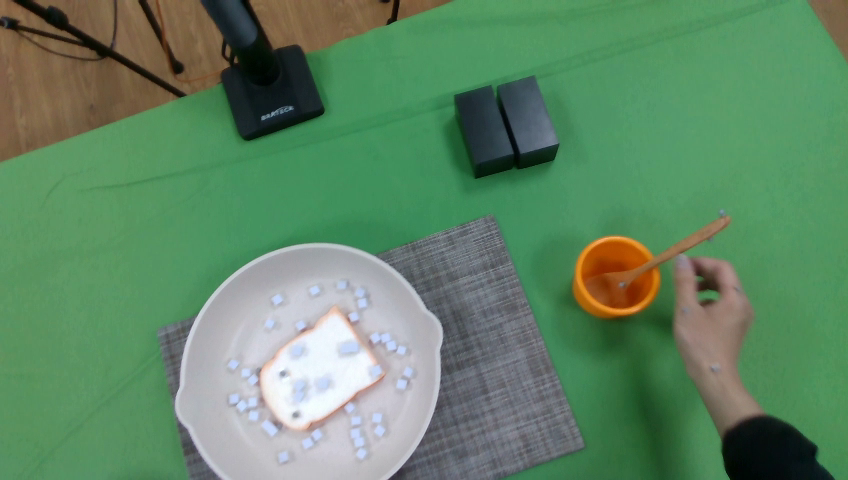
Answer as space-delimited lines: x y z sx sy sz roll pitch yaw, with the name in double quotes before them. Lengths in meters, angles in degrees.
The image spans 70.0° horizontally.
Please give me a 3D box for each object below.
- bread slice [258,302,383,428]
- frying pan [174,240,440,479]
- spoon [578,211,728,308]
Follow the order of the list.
"bread slice" -0.128 0.157 0.724 0.134 0.018 0.106 -39 76 -10
"frying pan" -0.100 0.238 0.659 0.307 0.103 0.483 -17 66 0
"spoon" 0.251 0.024 0.677 0.022 0.194 0.041 -15 71 -46
